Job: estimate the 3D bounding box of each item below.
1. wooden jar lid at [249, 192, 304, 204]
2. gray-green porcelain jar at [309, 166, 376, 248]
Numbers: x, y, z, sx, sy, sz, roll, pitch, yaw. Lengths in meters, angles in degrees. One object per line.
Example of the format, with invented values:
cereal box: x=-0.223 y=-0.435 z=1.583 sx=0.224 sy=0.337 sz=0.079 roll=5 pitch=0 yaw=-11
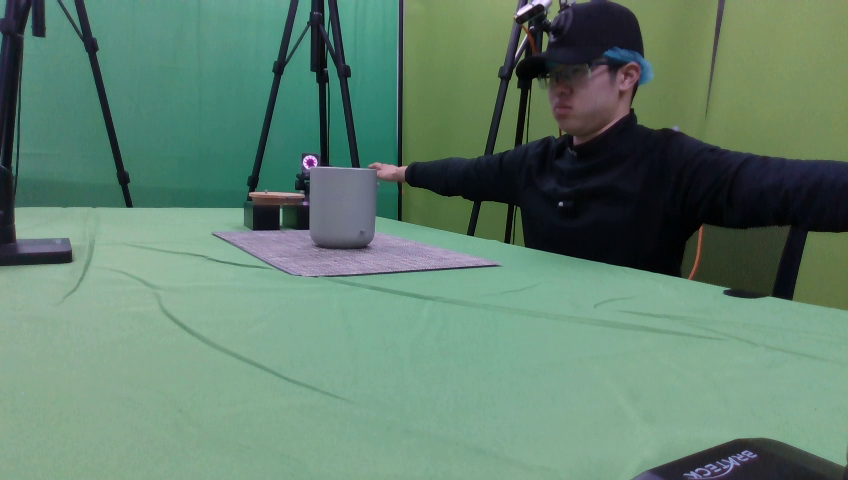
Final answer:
wooden jar lid: x=-0.297 y=-0.086 z=1.220 sx=0.108 sy=0.020 sz=0.108 roll=4 pitch=7 yaw=0
gray-green porcelain jar: x=-0.130 y=-0.054 z=0.966 sx=0.106 sy=0.126 sz=0.106 roll=2 pitch=7 yaw=0
